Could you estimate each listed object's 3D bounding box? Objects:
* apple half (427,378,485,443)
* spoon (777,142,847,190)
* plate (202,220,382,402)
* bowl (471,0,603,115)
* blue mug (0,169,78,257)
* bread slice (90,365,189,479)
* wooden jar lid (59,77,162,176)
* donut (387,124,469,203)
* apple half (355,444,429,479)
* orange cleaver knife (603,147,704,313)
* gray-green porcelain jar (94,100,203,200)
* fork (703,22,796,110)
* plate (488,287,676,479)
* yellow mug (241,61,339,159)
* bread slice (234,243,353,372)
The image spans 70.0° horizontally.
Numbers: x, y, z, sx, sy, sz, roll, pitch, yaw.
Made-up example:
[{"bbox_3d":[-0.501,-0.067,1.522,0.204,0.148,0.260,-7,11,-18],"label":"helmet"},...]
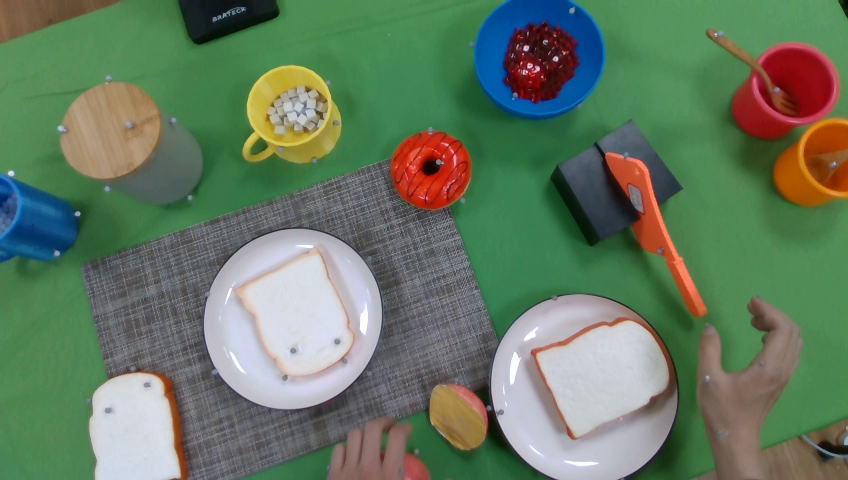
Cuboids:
[{"bbox_3d":[0.040,0.188,0.682,0.033,0.081,0.081,-30,77,-43],"label":"apple half"},{"bbox_3d":[0.486,-0.113,0.663,0.022,0.194,0.041,-14,74,-46],"label":"spoon"},{"bbox_3d":[-0.150,0.081,0.706,0.207,0.039,0.207,0,81,2],"label":"plate"},{"bbox_3d":[0.130,-0.212,0.728,0.151,0.077,0.151,0,81,2],"label":"bowl"},{"bbox_3d":[-0.486,-0.019,0.703,0.082,0.106,0.116,44,85,9],"label":"blue mug"},{"bbox_3d":[-0.335,0.213,0.701,0.105,0.019,0.131,-12,81,-1],"label":"bread slice"},{"bbox_3d":[-0.329,-0.118,0.641,0.108,0.021,0.108,-1,79,3],"label":"wooden jar lid"},{"bbox_3d":[0.005,-0.091,0.726,0.099,0.048,0.098,0,81,2],"label":"donut"},{"bbox_3d":[-0.037,0.268,0.669,0.074,0.053,0.080,33,83,10],"label":"apple half"},{"bbox_3d":[0.259,-0.011,0.688,0.012,0.077,0.212,-31,102,-10],"label":"orange cleaver knife"},{"bbox_3d":[-0.326,-0.107,0.702,0.106,0.127,0.105,0,80,2],"label":"gray-green porcelain jar"},{"bbox_3d":[0.371,-0.193,0.681,0.209,0.018,0.028,20,76,-37],"label":"fork"},{"bbox_3d":[0.175,0.158,0.685,0.209,0.038,0.208,0,81,2],"label":"plate"},{"bbox_3d":[-0.169,-0.146,0.734,0.131,0.064,0.099,-43,81,-4],"label":"yellow mug"},{"bbox_3d":[-0.143,0.084,0.706,0.107,0.018,0.133,-31,80,-3],"label":"bread slice"}]
